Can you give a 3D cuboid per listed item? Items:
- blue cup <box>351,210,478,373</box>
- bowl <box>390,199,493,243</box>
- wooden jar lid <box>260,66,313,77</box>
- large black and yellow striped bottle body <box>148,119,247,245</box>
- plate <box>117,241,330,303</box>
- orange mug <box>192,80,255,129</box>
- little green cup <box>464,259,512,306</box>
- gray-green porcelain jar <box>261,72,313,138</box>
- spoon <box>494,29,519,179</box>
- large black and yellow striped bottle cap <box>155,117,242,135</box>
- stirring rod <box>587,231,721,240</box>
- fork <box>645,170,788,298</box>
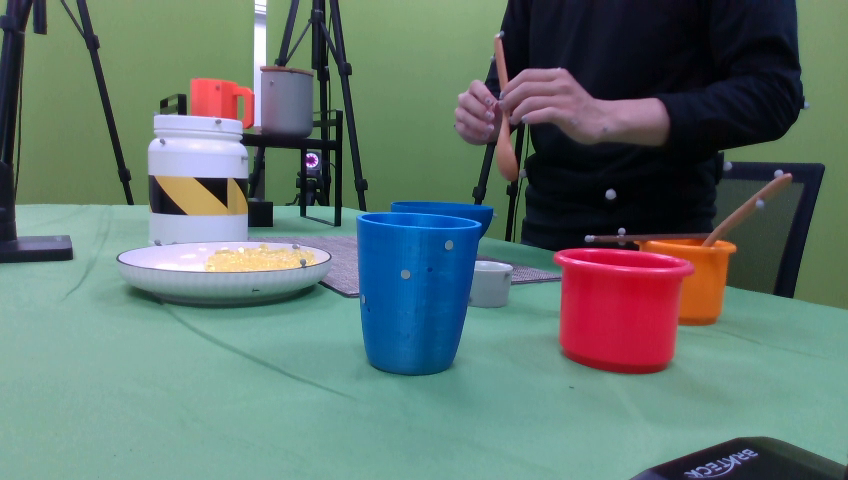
[{"bbox_3d":[-0.009,0.034,0.414,0.093,0.100,0.092,3,8,0],"label":"blue cup"},{"bbox_3d":[0.023,-0.016,0.874,0.151,0.077,0.151,3,8,0],"label":"bowl"},{"bbox_3d":[-0.283,-0.339,1.244,0.108,0.020,0.108,6,8,-1],"label":"wooden jar lid"},{"bbox_3d":[-0.318,-0.076,0.855,0.131,0.184,0.130,2,7,0],"label":"large black and yellow striped bottle body"},{"bbox_3d":[-0.203,0.031,0.630,0.209,0.038,0.209,3,7,0],"label":"plate"},{"bbox_3d":[-0.389,-0.257,1.172,0.126,0.100,0.083,-1,6,9],"label":"orange mug"},{"bbox_3d":[0.057,0.043,0.611,0.061,0.038,0.061,3,7,0],"label":"little green cup"},{"bbox_3d":[-0.284,-0.277,1.253,0.106,0.126,0.106,2,8,0],"label":"gray-green porcelain jar"},{"bbox_3d":[0.102,-0.173,0.763,0.022,0.193,0.041,2,-9,-24],"label":"spoon"},{"bbox_3d":[-0.313,-0.159,0.845,0.115,0.019,0.115,3,9,0],"label":"large black and yellow striped bottle cap"},{"bbox_3d":[0.227,-0.005,0.586,0.177,0.006,0.014,-1,7,-29],"label":"stirring rod"},{"bbox_3d":[0.256,0.004,0.543,0.028,0.018,0.207,3,-37,-10],"label":"fork"}]
